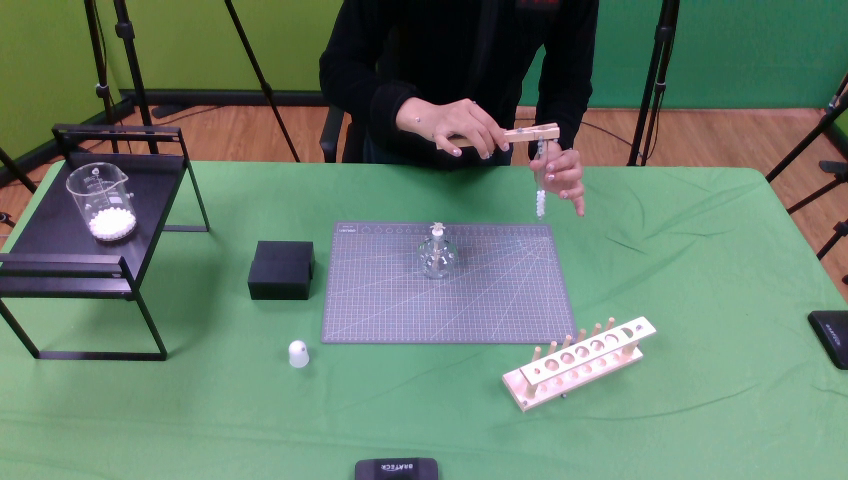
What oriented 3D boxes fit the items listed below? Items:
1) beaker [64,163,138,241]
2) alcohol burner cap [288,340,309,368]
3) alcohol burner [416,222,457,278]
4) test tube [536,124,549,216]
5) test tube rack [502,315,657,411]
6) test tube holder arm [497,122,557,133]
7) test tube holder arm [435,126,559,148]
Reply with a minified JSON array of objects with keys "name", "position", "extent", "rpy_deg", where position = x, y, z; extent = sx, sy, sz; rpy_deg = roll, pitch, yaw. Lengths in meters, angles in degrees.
[{"name":"beaker","position":[-0.477,-0.055,0.910],"extent":[0.084,0.101,0.073],"rpy_deg":[-9,48,-13]},{"name":"alcohol burner cap","position":[-0.207,0.183,0.991],"extent":[0.034,0.048,0.033],"rpy_deg":[2,47,-2]},{"name":"alcohol burner","position":[0.024,0.013,1.115],"extent":[0.078,0.120,0.077],"rpy_deg":[1,45,-1]},{"name":"test tube","position":[0.178,-0.103,0.914],"extent":[0.017,0.151,0.017],"rpy_deg":[-4,33,3]},{"name":"test tube rack","position":[0.253,0.186,0.988],"extent":[0.242,0.085,0.066],"rpy_deg":[-18,50,-20]},{"name":"test tube holder arm","position":[0.150,-0.158,0.881],"extent":[0.088,0.015,0.010],"rpy_deg":[-9,33,-2]},{"name":"test tube holder arm","position":[0.105,-0.150,0.878],"extent":[0.178,0.015,0.013],"rpy_deg":[-5,32,5]}]
